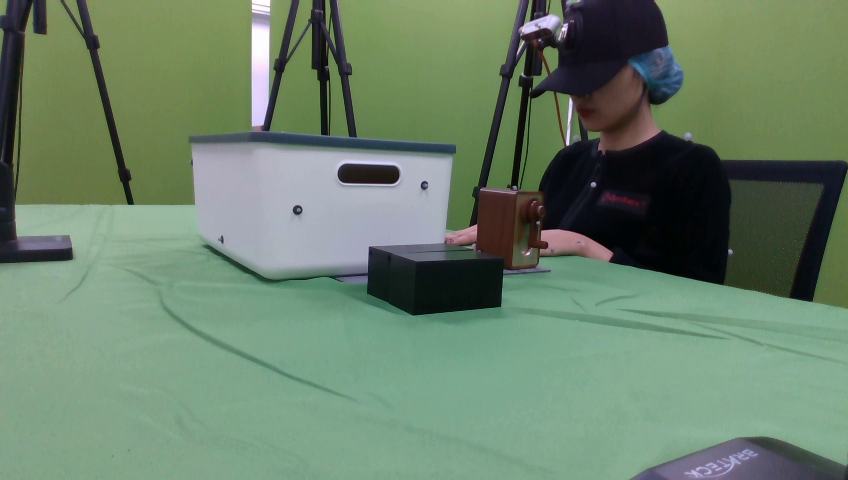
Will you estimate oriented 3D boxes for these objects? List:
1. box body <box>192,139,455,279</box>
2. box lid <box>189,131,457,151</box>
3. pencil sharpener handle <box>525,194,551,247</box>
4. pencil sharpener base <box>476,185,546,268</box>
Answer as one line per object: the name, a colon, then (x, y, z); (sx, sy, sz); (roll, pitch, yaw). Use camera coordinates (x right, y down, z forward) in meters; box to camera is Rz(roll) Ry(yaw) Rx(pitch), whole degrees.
box body: (-0.157, -0.058, 0.838); (0.255, 0.160, 0.362); (-2, 8, -32)
box lid: (-0.153, -0.131, 0.826); (0.265, 0.015, 0.369); (-3, 9, -32)
pencil sharpener handle: (0.153, -0.025, 0.785); (0.036, 0.067, 0.030); (0, 8, -41)
pencil sharpener base: (0.120, -0.019, 0.825); (0.062, 0.107, 0.076); (-3, 10, -40)
